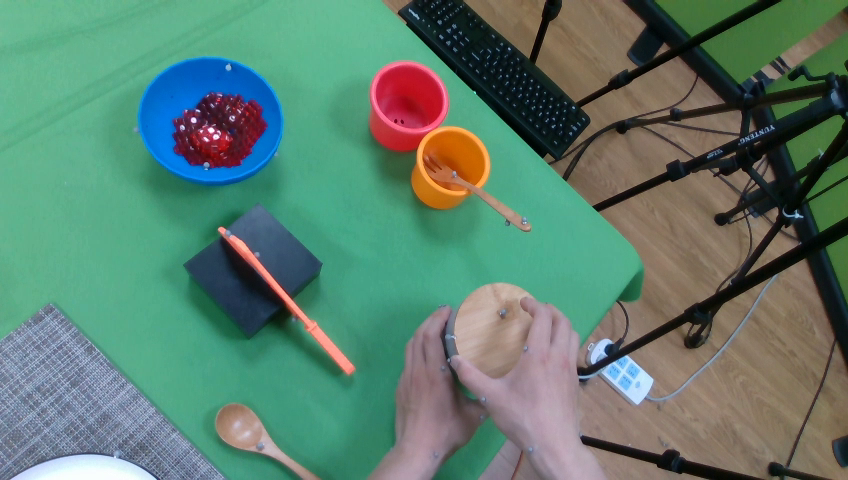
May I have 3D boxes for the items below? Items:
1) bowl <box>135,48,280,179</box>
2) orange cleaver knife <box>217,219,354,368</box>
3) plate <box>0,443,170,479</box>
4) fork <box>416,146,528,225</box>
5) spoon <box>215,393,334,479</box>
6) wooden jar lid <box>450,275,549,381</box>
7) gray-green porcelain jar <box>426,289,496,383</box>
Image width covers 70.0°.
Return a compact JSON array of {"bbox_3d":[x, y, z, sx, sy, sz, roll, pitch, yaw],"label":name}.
[{"bbox_3d":[-0.242,-0.132,0.693,0.152,0.077,0.150,4,75,-14],"label":"bowl"},{"bbox_3d":[-0.151,0.060,0.662,0.012,0.076,0.213,-43,112,-17],"label":"orange cleaver knife"},{"bbox_3d":[-0.329,0.299,0.570,0.210,0.038,0.208,4,75,-14],"label":"plate"},{"bbox_3d":[0.052,-0.067,0.713,0.028,0.019,0.205,-22,38,-25],"label":"fork"},{"bbox_3d":[-0.143,0.232,0.649,0.194,0.022,0.041,38,50,-2],"label":"spoon"},{"bbox_3d":[0.076,0.091,0.623,0.109,0.021,0.108,4,75,-16],"label":"wooden jar lid"},{"bbox_3d":[0.062,0.107,0.682,0.106,0.127,0.105,4,74,-13],"label":"gray-green porcelain jar"}]
